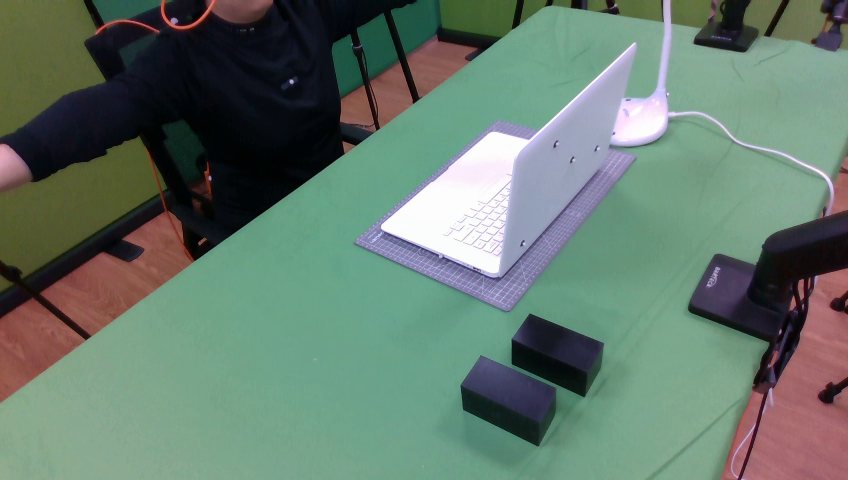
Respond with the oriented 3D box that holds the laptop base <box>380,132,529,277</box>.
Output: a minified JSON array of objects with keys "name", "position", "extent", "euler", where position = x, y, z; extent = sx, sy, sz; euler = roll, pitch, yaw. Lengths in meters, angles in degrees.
[{"name":"laptop base","position":[0.122,-0.077,1.042],"extent":[0.233,0.023,0.355],"euler":[20,47,33]}]

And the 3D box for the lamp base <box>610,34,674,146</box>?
[{"name":"lamp base","position":[0.392,-0.291,1.129],"extent":[0.180,0.181,0.159],"euler":[-11,41,-8]}]

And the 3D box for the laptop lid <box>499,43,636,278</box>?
[{"name":"laptop lid","position":[0.217,-0.122,0.898],"extent":[0.013,0.242,0.358],"euler":[28,50,25]}]
